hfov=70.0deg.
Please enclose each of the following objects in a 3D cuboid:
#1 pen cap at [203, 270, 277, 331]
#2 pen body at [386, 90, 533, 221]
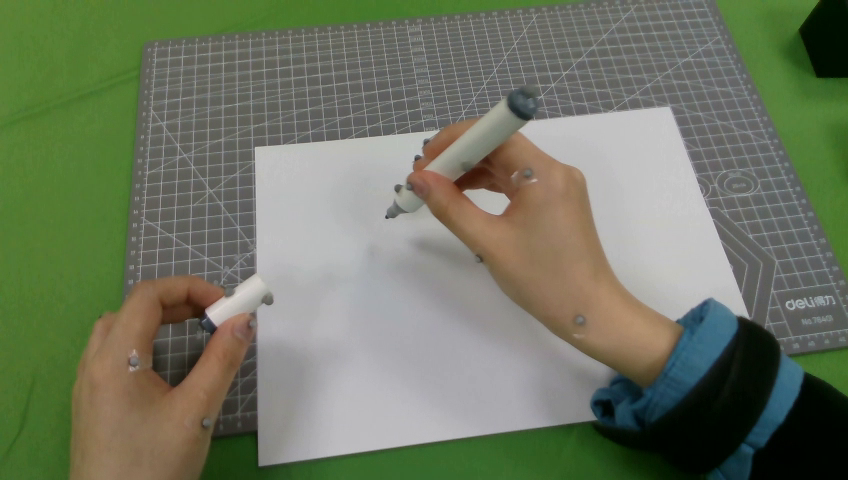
[{"bbox_3d":[-0.097,0.033,0.318,0.038,0.017,0.017,-33,68,1],"label":"pen cap"},{"bbox_3d":[0.010,-0.035,0.317,0.017,0.144,0.017,10,67,-25],"label":"pen body"}]
